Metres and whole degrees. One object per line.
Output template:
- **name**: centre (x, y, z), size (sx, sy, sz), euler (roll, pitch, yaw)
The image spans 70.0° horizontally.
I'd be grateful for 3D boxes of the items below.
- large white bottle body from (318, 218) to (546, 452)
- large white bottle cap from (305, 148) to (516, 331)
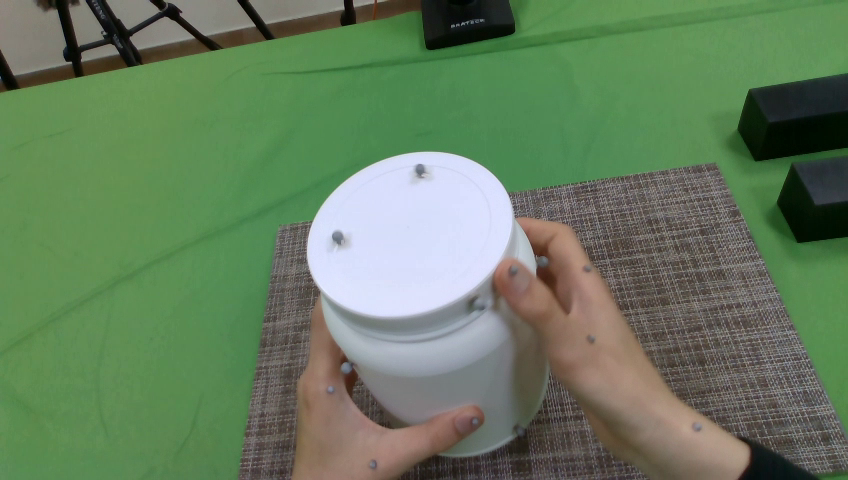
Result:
- **large white bottle body**: centre (0.010, 0.047, 0.396), size (0.130, 0.186, 0.129), euler (-7, 52, 10)
- **large white bottle cap**: centre (-0.008, -0.005, 0.329), size (0.114, 0.018, 0.113), euler (-7, 52, 9)
